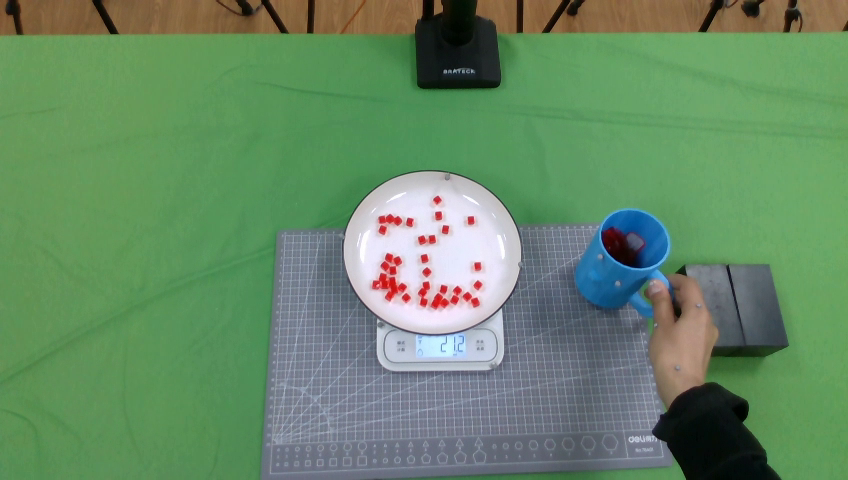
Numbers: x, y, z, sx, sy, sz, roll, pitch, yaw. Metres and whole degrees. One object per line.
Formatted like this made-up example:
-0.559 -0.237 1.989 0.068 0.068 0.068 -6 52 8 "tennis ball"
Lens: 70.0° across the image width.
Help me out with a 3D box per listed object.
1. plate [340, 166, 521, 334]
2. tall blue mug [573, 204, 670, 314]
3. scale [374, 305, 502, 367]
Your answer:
0.008 0.012 0.707 0.209 0.038 0.207 1 67 -3 "plate"
0.235 0.026 0.693 0.107 0.109 0.077 28 65 11 "tall blue mug"
0.016 0.051 0.727 0.149 0.032 0.199 0 67 -2 "scale"
